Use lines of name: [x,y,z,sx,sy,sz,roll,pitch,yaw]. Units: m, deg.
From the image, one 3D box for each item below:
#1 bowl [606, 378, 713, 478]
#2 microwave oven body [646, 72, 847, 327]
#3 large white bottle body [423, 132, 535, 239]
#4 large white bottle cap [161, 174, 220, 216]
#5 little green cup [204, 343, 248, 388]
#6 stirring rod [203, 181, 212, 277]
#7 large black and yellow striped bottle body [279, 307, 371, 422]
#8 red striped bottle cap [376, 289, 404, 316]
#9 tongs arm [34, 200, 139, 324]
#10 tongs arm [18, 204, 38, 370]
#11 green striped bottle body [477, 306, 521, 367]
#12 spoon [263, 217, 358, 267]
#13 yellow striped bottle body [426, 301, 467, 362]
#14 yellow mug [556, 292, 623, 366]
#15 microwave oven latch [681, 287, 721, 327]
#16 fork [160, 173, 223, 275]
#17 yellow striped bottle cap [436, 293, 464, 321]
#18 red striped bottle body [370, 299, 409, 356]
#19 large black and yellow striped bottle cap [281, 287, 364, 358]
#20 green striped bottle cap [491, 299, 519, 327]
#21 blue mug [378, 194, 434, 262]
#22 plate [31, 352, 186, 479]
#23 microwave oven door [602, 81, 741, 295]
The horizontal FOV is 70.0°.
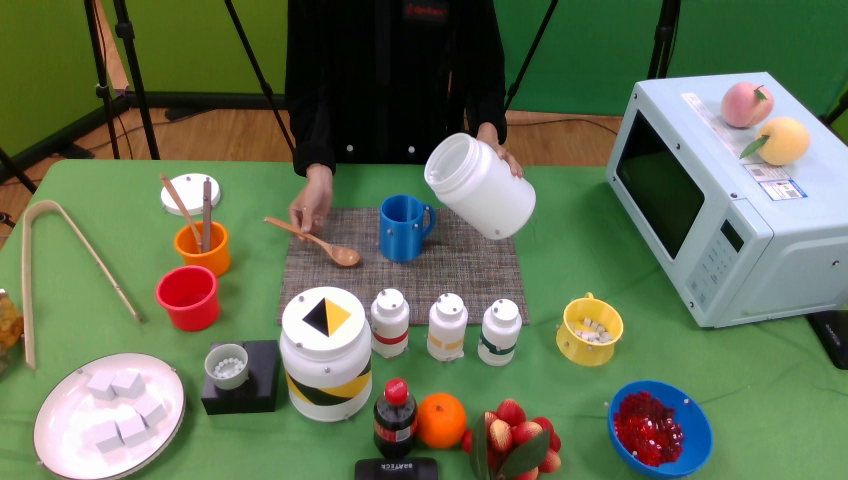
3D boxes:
bowl: [0.340,0.292,0.906,0.151,0.077,0.150,2,46,-2]
microwave oven body: [0.607,-0.089,1.164,0.326,0.261,0.438,-7,46,-10]
large white bottle body: [0.098,-0.099,1.093,0.130,0.186,0.130,-30,41,30]
large white bottle cap: [-0.483,-0.095,1.253,0.115,0.018,0.114,2,46,-2]
little green cup: [-0.294,0.190,0.909,0.061,0.039,0.061,1,48,0]
stirring rod: [-0.396,-0.021,1.107,0.014,0.006,0.176,-1,89,-1]
large black and yellow striped bottle body: [-0.145,0.173,0.907,0.131,0.185,0.130,2,46,-2]
red striped bottle cap: [-0.054,0.098,0.958,0.044,0.018,0.044,0,48,1]
tongs arm: [-0.622,0.034,1.105,0.051,0.026,0.382,-32,56,-26]
tongs arm: [-0.698,0.069,1.069,0.028,0.028,0.385,-20,50,-13]
green striped bottle body: [0.124,0.151,0.995,0.063,0.120,0.063,2,46,-2]
spoon: [-0.214,-0.001,1.139,0.194,0.022,0.041,28,52,-3]
yellow striped bottle body: [0.037,0.142,0.996,0.063,0.121,0.062,2,46,-2]
yellow mug: [0.285,0.145,1.051,0.100,0.064,0.130,7,45,3]
microwave oven latch: [0.494,0.119,1.087,0.030,0.029,0.078,-6,46,-9]
fork: [-0.425,-0.030,1.103,0.028,0.018,0.207,-29,99,-20]
yellow striped bottle cap: [0.041,0.106,0.959,0.044,0.019,0.044,-1,49,1]
red striped bottle body: [-0.058,0.134,0.997,0.063,0.120,0.062,4,47,-4]
large black and yellow striped bottle cap: [-0.141,0.112,0.847,0.115,0.019,0.114,5,45,-4]
green striped bottle cap: [0.128,0.115,0.958,0.044,0.020,0.044,1,46,-1]
blue mug: [-0.032,-0.028,1.160,0.116,0.106,0.082,-20,51,-21]
plate: [-0.459,0.262,0.898,0.209,0.038,0.208,2,45,-2]
microwave oven door: [0.456,-0.107,1.162,0.039,0.245,0.353,-7,47,-11]
